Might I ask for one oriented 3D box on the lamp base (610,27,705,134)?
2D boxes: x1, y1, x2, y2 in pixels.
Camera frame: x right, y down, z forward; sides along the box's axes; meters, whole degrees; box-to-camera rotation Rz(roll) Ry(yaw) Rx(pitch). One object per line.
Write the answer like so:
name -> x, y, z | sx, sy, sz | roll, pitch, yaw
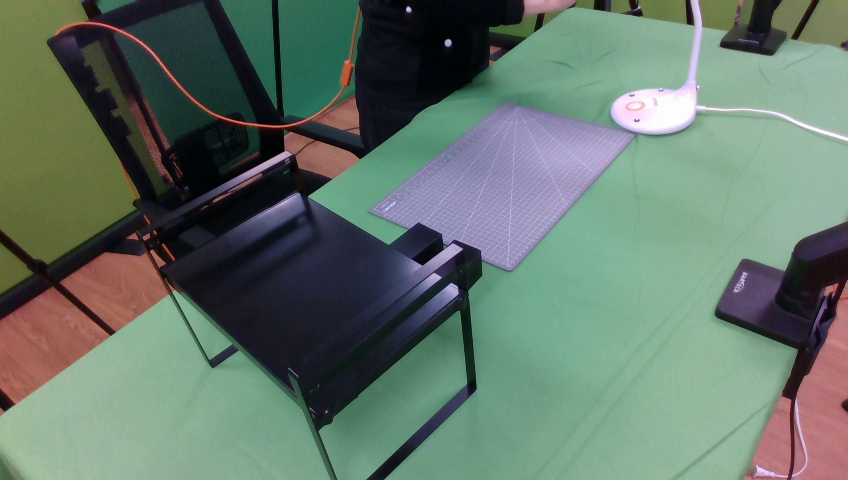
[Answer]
lamp base -> 0.458, -0.316, 1.154 | 0.179, 0.181, 0.159 | -5, 41, -1
